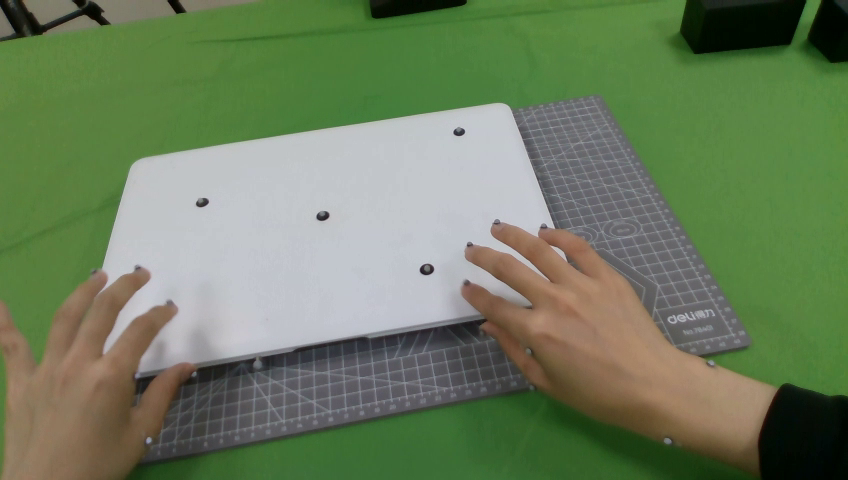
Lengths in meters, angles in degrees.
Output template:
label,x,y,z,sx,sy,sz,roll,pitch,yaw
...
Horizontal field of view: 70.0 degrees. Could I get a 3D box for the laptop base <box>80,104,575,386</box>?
label,x,y,z,sx,sy,sz,roll,pitch,yaw
laptop base,-0.080,-0.010,0.498,0.354,0.023,0.233,-9,51,-2

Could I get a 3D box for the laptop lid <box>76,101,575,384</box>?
label,x,y,z,sx,sy,sz,roll,pitch,yaw
laptop lid,-0.081,-0.016,0.488,0.357,0.013,0.239,-8,49,0
